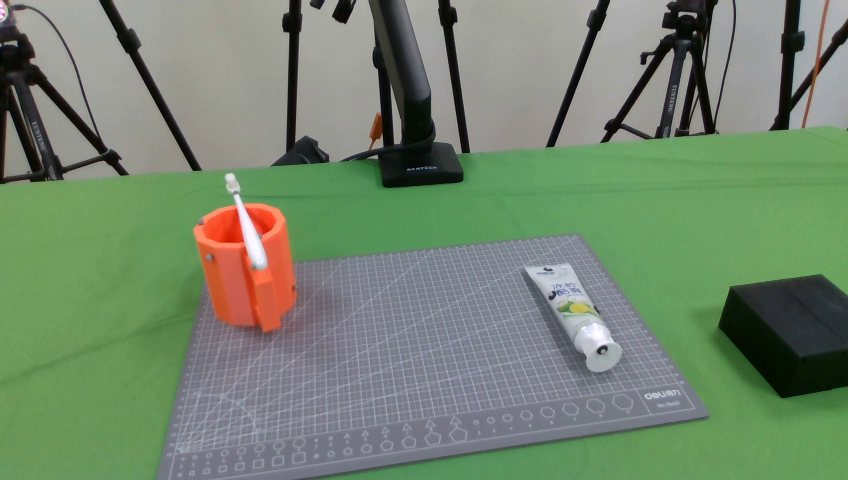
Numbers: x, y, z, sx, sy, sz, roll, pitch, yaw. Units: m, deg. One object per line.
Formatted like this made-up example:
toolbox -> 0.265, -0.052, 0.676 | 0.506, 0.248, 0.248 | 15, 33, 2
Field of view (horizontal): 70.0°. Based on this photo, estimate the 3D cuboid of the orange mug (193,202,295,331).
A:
orange mug -> -0.174, 0.030, 0.608 | 0.084, 0.101, 0.125 | -17, 32, -23

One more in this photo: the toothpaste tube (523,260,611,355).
toothpaste tube -> 0.150, 0.064, 0.617 | 0.055, 0.035, 0.163 | 0, 29, -10

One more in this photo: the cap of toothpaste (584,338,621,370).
cap of toothpaste -> 0.160, 0.102, 0.547 | 0.037, 0.037, 0.011 | -10, 35, -13

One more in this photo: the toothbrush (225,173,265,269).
toothbrush -> -0.178, -0.023, 0.594 | 0.014, 0.017, 0.180 | -10, 34, -21
